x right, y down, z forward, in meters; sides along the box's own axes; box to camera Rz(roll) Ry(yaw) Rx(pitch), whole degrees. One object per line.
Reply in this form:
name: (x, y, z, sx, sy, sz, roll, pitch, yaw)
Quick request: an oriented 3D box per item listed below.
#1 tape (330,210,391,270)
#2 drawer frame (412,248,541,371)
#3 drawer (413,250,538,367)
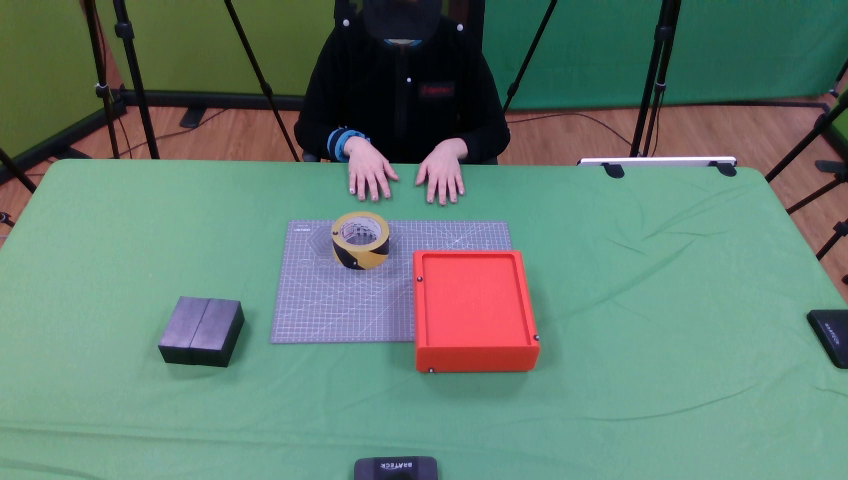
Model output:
tape: (-0.123, -0.002, 1.164, 0.117, 0.053, 0.116, 3, 46, -3)
drawer frame: (0.082, 0.116, 1.046, 0.202, 0.083, 0.212, 0, 47, -4)
drawer: (0.080, 0.114, 1.047, 0.195, 0.073, 0.210, 1, 47, -4)
